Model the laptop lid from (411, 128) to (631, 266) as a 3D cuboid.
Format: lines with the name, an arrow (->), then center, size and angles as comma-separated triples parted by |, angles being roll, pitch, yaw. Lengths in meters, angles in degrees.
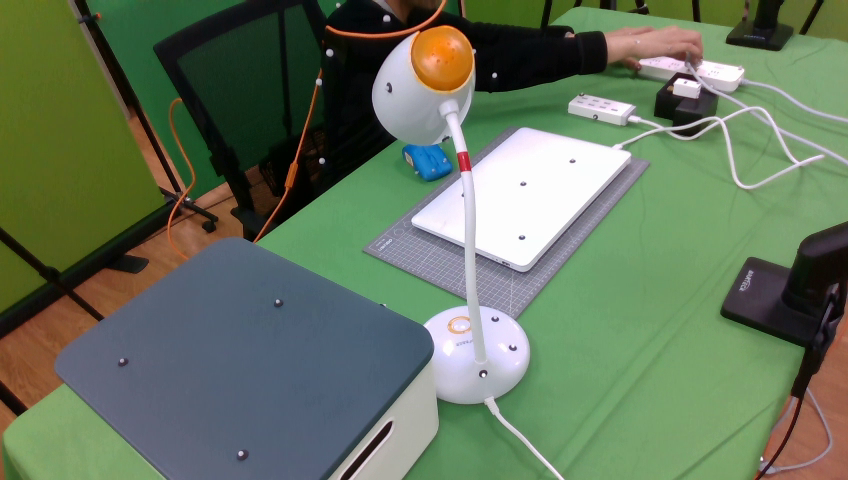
laptop lid -> 0.173, -0.093, 1.049 | 0.239, 0.013, 0.358 | 24, 50, 36

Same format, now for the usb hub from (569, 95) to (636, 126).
usb hub -> 0.361, -0.264, 1.228 | 0.124, 0.025, 0.049 | 24, 49, 34

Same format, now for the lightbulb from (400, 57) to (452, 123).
lightbulb -> 0.004, -0.169, 0.668 | 0.059, 0.108, 0.059 | 1, 79, -3

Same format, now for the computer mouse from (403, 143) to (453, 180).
computer mouse -> 0.006, -0.159, 1.165 | 0.063, 0.041, 0.116 | -21, 45, -17

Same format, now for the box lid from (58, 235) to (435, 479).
box lid -> -0.198, 0.123, 0.653 | 0.368, 0.015, 0.264 | 22, 49, 32

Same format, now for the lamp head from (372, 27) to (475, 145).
lamp head -> 0.007, -0.167, 0.644 | 0.113, 0.112, 0.122 | -22, 2, -14

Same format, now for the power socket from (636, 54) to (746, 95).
power socket -> 0.566, -0.357, 1.293 | 0.225, 0.033, 0.072 | 24, 51, 34

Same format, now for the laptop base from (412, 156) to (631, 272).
laptop base -> 0.176, -0.083, 1.055 | 0.233, 0.023, 0.355 | 21, 48, 36

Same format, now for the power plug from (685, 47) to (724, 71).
power plug -> 0.581, -0.371, 1.257 | 0.072, 0.053, 0.035 | 4, 59, 18

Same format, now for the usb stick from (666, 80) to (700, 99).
usb stick -> 0.492, -0.288, 1.152 | 0.058, 0.027, 0.021 | 20, 50, 34

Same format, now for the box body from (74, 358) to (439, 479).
box body -> -0.189, 0.179, 0.702 | 0.361, 0.161, 0.255 | 22, 49, 32

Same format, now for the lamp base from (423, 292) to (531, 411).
lamp base -> 0.055, 0.095, 0.740 | 0.161, 0.181, 0.177 | -19, 43, -11
